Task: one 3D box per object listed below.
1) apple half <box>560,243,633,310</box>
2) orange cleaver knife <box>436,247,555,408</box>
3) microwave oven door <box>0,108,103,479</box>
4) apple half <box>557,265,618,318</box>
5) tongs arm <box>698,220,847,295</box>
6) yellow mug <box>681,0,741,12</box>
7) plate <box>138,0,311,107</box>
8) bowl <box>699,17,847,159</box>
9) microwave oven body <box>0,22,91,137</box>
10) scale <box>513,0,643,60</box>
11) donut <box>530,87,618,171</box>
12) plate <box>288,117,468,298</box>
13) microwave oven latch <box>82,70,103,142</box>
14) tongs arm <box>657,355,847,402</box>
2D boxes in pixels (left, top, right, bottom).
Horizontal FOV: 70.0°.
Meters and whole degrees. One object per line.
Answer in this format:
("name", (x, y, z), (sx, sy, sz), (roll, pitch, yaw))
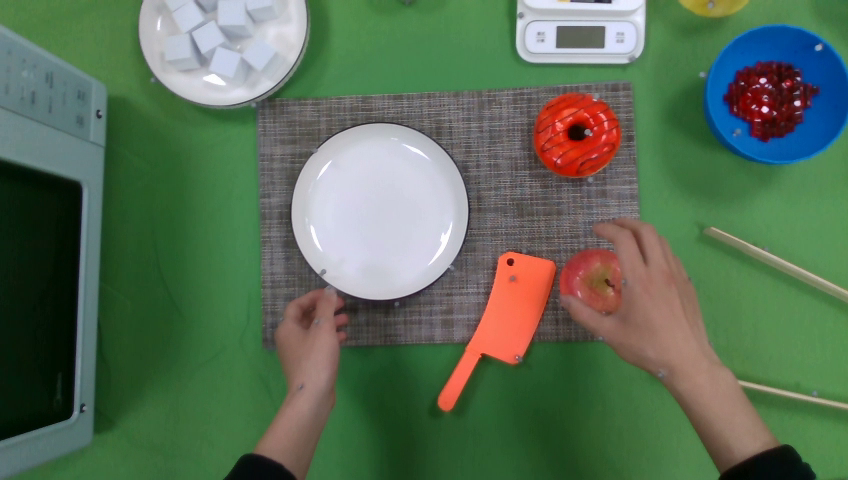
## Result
("apple half", (0.196, 0.034, 0.669), (0.080, 0.075, 0.053), (40, 86, 9))
("orange cleaver knife", (0.083, 0.104, 0.697), (0.077, 0.012, 0.211), (27, 86, -1))
("microwave oven door", (-0.413, 0.053, 0.606), (0.039, 0.244, 0.355), (0, 86, 4))
("apple half", (0.171, 0.063, 0.667), (0.081, 0.081, 0.033), (41, 87, 5))
("tongs arm", (0.485, 0.072, 0.673), (0.387, 0.028, 0.028), (28, 81, 5))
("yellow mug", (0.329, -0.334, 0.688), (0.100, 0.064, 0.130), (-35, 84, 1))
("plate", (-0.237, -0.260, 0.733), (0.207, 0.039, 0.207), (0, 87, 4))
("bowl", (0.371, -0.157, 0.670), (0.151, 0.077, 0.151), (0, 87, 4))
("microwave oven body", (-0.558, 0.011, 0.622), (0.326, 0.260, 0.441), (0, 87, 3))
("scale", (0.183, -0.315, 0.714), (0.148, 0.031, 0.200), (2, 87, 4))
("donut", (0.170, -0.127, 0.694), (0.099, 0.048, 0.099), (0, 87, 6))
("plate", (-0.053, -0.037, 0.706), (0.209, 0.038, 0.208), (0, 87, 4))
("microwave oven latch", (-0.402, -0.159, 0.719), (0.030, 0.029, 0.079), (2, 87, 3))
("tongs arm", (0.457, 0.154, 0.667), (0.384, 0.026, 0.050), (13, 84, 4))
